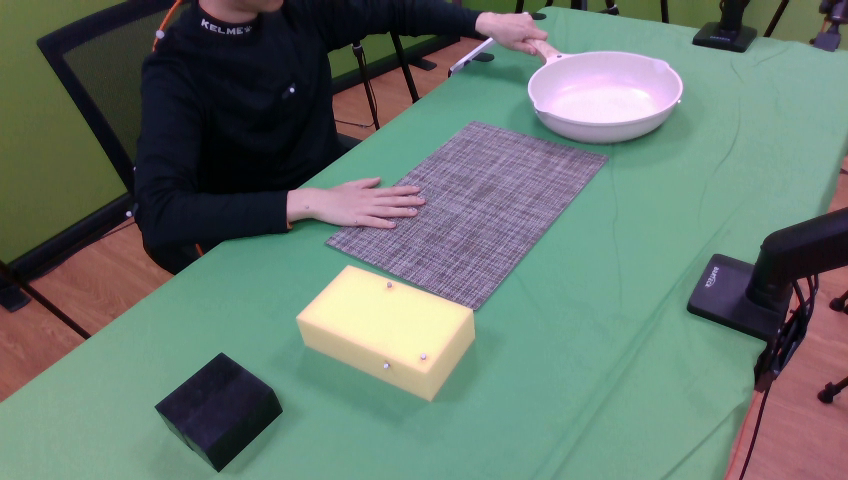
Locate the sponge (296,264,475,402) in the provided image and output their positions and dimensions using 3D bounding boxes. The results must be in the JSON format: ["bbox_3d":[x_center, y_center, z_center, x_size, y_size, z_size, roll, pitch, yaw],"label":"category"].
[{"bbox_3d":[-0.050,0.118,0.811,0.205,0.061,0.118,18,47,26],"label":"sponge"}]

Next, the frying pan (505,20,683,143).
[{"bbox_3d":[0.311,-0.352,1.268,0.308,0.103,0.483,-21,51,-15],"label":"frying pan"}]
